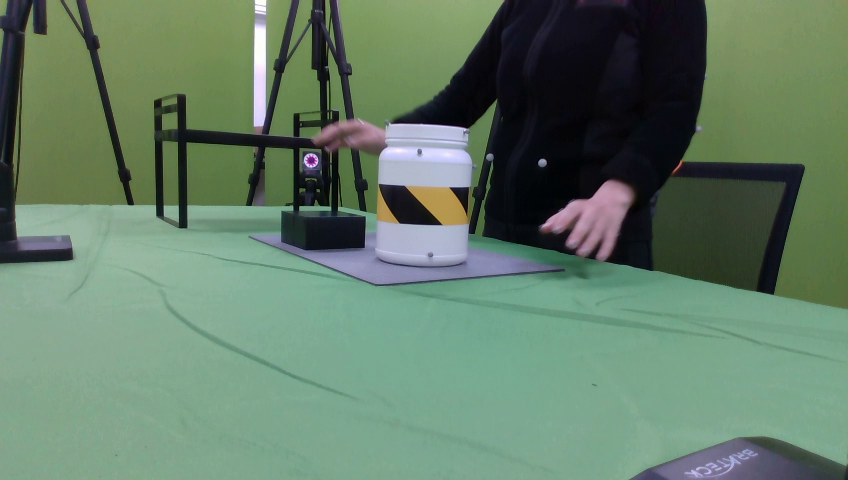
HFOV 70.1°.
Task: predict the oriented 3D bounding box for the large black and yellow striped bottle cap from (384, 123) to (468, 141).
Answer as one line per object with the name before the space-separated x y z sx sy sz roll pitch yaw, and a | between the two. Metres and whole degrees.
large black and yellow striped bottle cap | 0.003 -0.147 0.827 0.115 0.019 0.115 3 9 0

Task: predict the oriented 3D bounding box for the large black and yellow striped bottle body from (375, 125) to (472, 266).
large black and yellow striped bottle body | -0.001 -0.064 0.837 0.131 0.184 0.130 2 7 0
